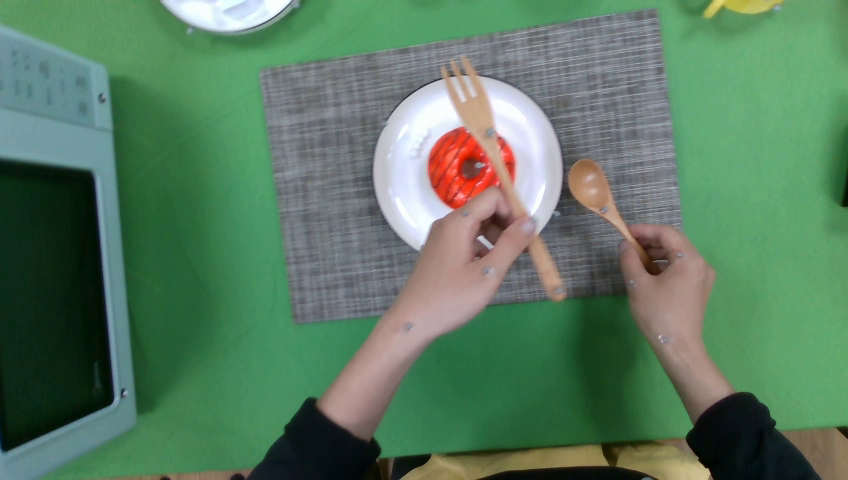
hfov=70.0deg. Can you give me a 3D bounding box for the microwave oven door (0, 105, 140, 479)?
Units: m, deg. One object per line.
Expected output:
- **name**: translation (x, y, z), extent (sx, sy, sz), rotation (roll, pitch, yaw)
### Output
- **microwave oven door**: translation (-0.384, 0.051, 0.609), extent (0.039, 0.244, 0.355), rotation (-3, 92, 8)

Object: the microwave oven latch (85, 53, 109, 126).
- **microwave oven latch**: translation (-0.386, -0.174, 0.701), extent (0.030, 0.029, 0.079), rotation (9, 94, 6)

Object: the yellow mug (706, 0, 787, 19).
- **yellow mug**: translation (0.334, -0.276, 0.608), extent (0.100, 0.064, 0.131), rotation (42, 98, 4)

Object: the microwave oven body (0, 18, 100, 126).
- **microwave oven body**: translation (-0.530, 0.016, 0.631), extent (0.326, 0.260, 0.441), rotation (-3, 93, 7)

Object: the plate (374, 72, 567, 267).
- **plate**: translation (0.049, -0.076, 0.664), extent (0.209, 0.038, 0.209), rotation (0, 93, 8)

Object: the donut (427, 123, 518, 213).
- **donut**: translation (0.053, -0.078, 0.653), extent (0.099, 0.048, 0.099), rotation (1, 94, 9)

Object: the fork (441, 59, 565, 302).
- **fork**: translation (0.065, -0.044, 0.478), extent (0.028, 0.018, 0.207), rotation (-24, 91, 25)

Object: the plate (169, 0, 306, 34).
- **plate**: translation (-0.207, -0.336, 0.689), extent (0.207, 0.039, 0.207), rotation (0, 92, 7)

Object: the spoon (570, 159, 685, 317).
- **spoon**: translation (0.211, 0.000, 0.621), extent (0.041, 0.021, 0.193), rotation (-34, 87, -19)
